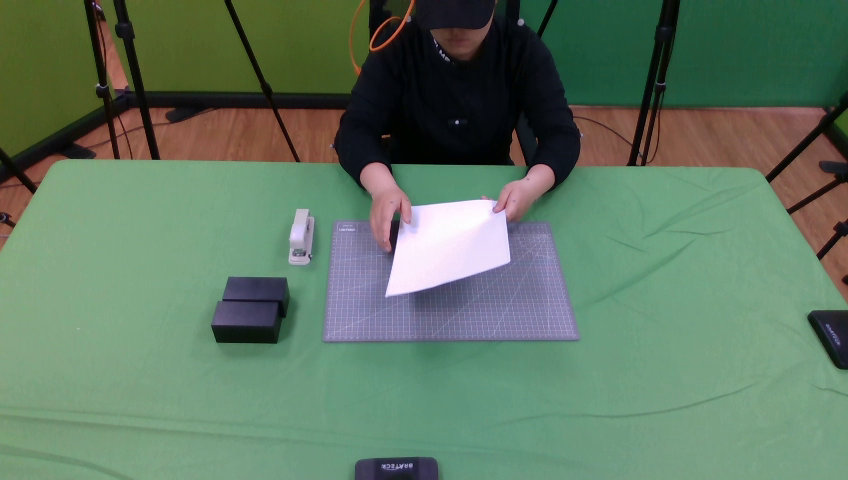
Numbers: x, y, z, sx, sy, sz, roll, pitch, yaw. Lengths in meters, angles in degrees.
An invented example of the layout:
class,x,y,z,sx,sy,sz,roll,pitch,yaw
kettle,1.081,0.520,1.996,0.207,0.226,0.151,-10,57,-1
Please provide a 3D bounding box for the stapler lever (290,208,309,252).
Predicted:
class,x,y,z,sx,sy,sz,roll,pitch,yaw
stapler lever,-0.240,-0.026,1.168,0.027,0.040,0.117,1,44,-6

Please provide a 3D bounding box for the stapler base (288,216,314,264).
class,x,y,z,sx,sy,sz,roll,pitch,yaw
stapler base,-0.241,-0.007,1.185,0.041,0.024,0.129,1,44,-6
